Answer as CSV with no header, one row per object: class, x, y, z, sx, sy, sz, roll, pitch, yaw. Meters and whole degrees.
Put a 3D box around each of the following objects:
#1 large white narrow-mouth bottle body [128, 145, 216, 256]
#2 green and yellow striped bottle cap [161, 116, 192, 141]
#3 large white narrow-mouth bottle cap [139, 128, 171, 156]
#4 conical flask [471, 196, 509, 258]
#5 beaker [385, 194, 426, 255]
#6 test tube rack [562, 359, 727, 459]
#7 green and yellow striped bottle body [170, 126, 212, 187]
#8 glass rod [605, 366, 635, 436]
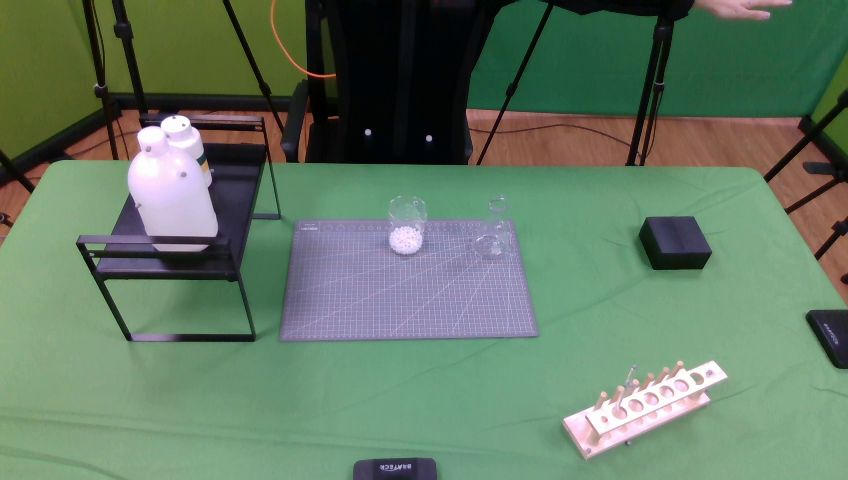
large white narrow-mouth bottle body,-0.366,-0.073,0.872,0.102,0.195,0.101,3,47,-3
green and yellow striped bottle cap,-0.387,-0.174,0.946,0.045,0.020,0.045,3,44,-3
large white narrow-mouth bottle cap,-0.358,-0.131,0.808,0.038,0.024,0.037,3,47,-3
conical flask,0.133,-0.028,1.160,0.075,0.122,0.075,2,46,-2
beaker,-0.033,-0.026,1.162,0.083,0.101,0.074,29,51,21
test tube rack,0.341,0.247,0.940,0.243,0.085,0.066,-16,49,-18
green and yellow striped bottle body,-0.389,-0.139,0.984,0.063,0.120,0.063,2,46,-2
glass rod,0.276,0.233,0.857,0.008,0.201,0.008,-2,47,2
